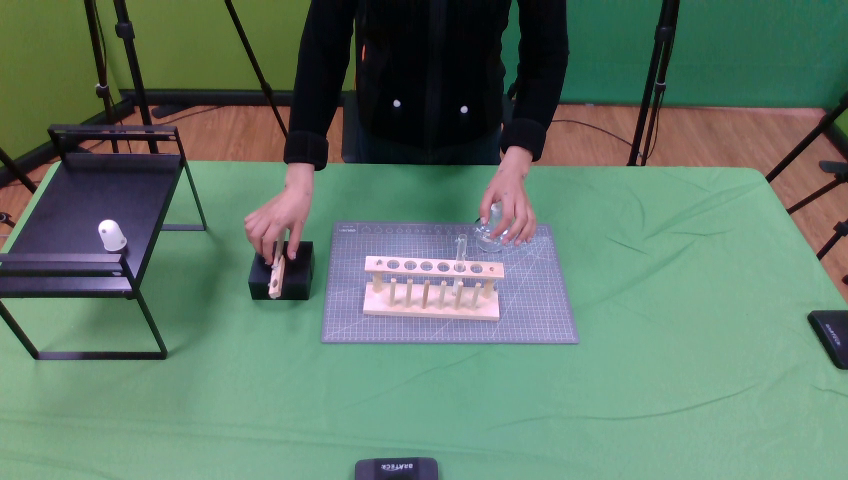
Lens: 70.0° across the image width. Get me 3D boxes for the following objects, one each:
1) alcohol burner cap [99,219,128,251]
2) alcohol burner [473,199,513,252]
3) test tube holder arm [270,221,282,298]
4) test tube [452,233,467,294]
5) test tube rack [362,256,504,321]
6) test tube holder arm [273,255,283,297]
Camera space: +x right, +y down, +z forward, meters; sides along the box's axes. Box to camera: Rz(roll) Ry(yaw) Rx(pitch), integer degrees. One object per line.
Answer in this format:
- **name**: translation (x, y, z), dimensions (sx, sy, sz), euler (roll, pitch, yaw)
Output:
- **alcohol burner cap**: translation (-0.467, -0.010, 0.907), dimensions (0.034, 0.048, 0.033), euler (2, 47, -2)
- **alcohol burner**: translation (0.135, -0.034, 1.174), dimensions (0.078, 0.120, 0.077), euler (1, 47, -1)
- **test tube holder arm**: translation (-0.264, 0.031, 1.086), dimensions (0.013, 0.015, 0.177), euler (-6, 46, -4)
- **test tube**: translation (0.061, 0.045, 1.044), dimensions (0.017, 0.151, 0.017), euler (1, 47, -1)
- **test tube rack**: translation (0.015, 0.086, 1.069), dimensions (0.242, 0.085, 0.066), euler (3, 45, -2)
- **test tube holder arm**: translation (-0.253, 0.062, 1.055), dimensions (0.010, 0.015, 0.087), euler (-5, 46, -3)
